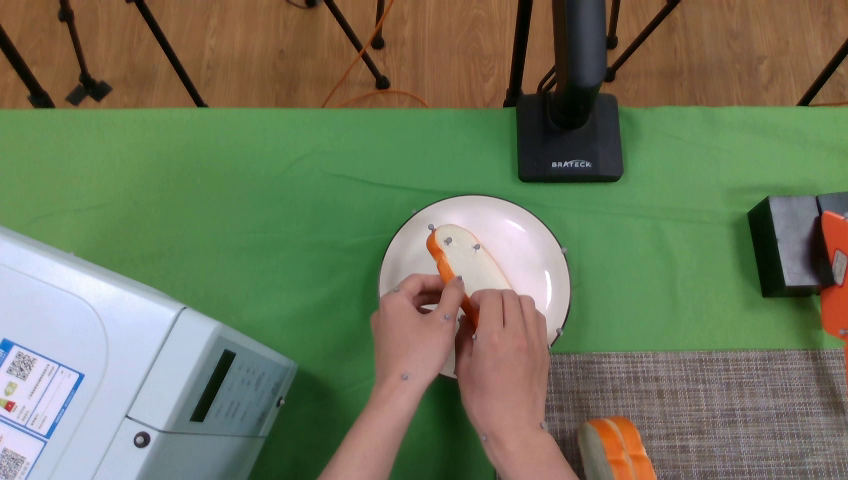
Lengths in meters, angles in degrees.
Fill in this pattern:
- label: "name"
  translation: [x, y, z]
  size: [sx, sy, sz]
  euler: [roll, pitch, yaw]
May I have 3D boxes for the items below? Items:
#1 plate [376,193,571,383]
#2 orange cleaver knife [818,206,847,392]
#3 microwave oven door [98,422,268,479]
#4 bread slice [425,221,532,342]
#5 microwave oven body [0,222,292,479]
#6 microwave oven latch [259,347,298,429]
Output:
- label: "plate"
  translation: [0.053, 0.051, 0.658]
  size: [0.207, 0.039, 0.206]
  euler: [0, 72, 2]
- label: "orange cleaver knife"
  translation: [0.425, 0.070, 0.614]
  size: [0.012, 0.077, 0.211]
  euler: [-5, 93, 3]
- label: "microwave oven door"
  translation: [-0.243, 0.311, 0.460]
  size: [0.039, 0.245, 0.354]
  euler: [20, 74, 9]
- label: "bread slice"
  translation: [0.053, 0.039, 0.622]
  size: [0.018, 0.107, 0.134]
  euler: [-39, 80, 25]
- label: "microwave oven body"
  translation: [-0.363, 0.226, 0.497]
  size: [0.325, 0.261, 0.440]
  euler: [20, 75, 8]
- label: "microwave oven latch"
  translation: [-0.156, 0.149, 0.615]
  size: [0.030, 0.029, 0.079]
  euler: [22, 75, 9]
